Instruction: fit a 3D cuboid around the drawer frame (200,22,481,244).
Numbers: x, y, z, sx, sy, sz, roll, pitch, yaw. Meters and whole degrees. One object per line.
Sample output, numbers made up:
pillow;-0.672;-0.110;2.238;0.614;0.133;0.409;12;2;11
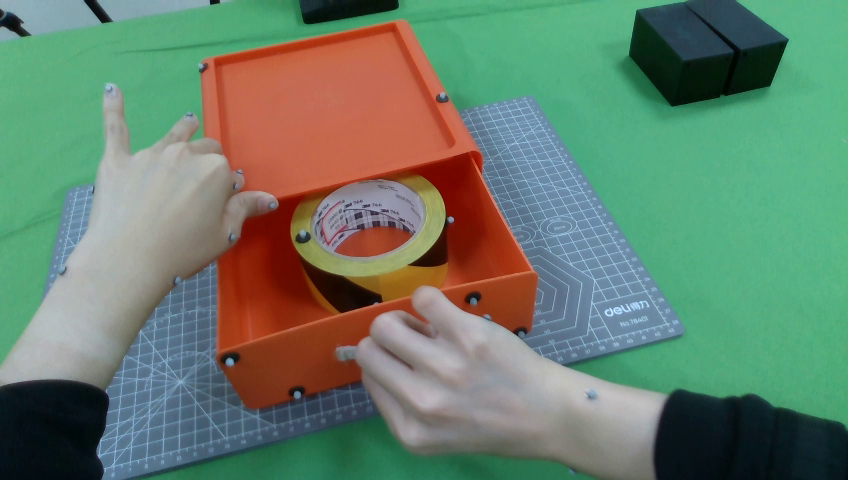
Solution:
drawer frame;-0.079;-0.086;0.517;0.202;0.083;0.211;-15;47;-8

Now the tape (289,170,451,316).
tape;-0.039;0.000;0.445;0.117;0.053;0.115;-2;47;2

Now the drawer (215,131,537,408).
drawer;-0.048;-0.004;0.442;0.195;0.074;0.209;-14;47;-7
